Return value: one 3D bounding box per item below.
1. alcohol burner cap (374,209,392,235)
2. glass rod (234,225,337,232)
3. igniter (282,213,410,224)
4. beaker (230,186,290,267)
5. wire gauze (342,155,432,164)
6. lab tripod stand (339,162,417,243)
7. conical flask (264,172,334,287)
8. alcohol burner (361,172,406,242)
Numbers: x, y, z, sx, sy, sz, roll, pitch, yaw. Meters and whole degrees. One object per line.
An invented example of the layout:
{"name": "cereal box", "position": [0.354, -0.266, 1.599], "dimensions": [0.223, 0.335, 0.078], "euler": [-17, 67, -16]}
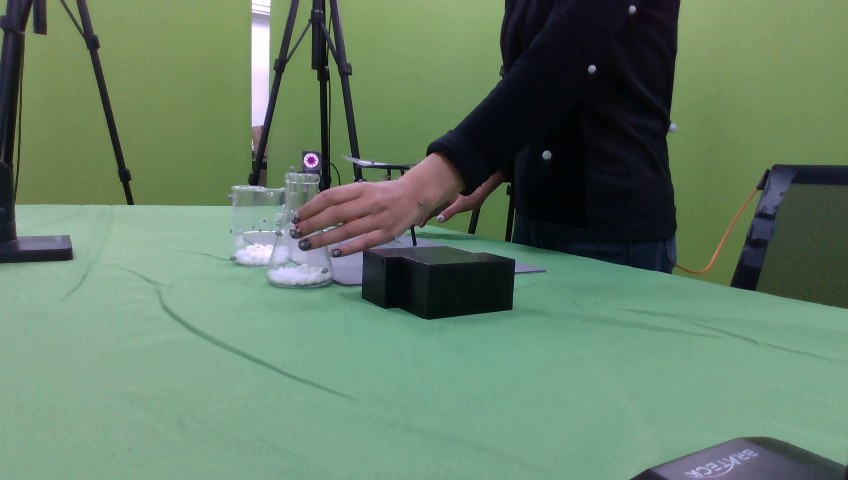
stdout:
{"name": "alcohol burner cap", "position": [-0.078, -0.035, 1.148], "dimensions": [0.034, 0.048, 0.034], "euler": [3, 7, 0]}
{"name": "glass rod", "position": [-0.256, -0.023, 1.136], "dimensions": [0.201, 0.008, 0.008], "euler": [-3, 9, -33]}
{"name": "igniter", "position": [-0.159, -0.046, 1.287], "dimensions": [0.278, 0.025, 0.057], "euler": [-1, -3, -21]}
{"name": "beaker", "position": [-0.209, -0.019, 0.778], "dimensions": [0.074, 0.100, 0.084], "euler": [3, 7, 4]}
{"name": "wire gauze", "position": [-0.065, -0.131, 1.017], "dimensions": [0.122, 0.011, 0.124], "euler": [1, 9, -26]}
{"name": "lab tripod stand", "position": [-0.067, -0.065, 1.027], "dimensions": [0.148, 0.131, 0.148], "euler": [4, 7, 0]}
{"name": "conical flask", "position": [-0.136, -0.013, 0.661], "dimensions": [0.075, 0.122, 0.075], "euler": [2, 6, 0]}
{"name": "alcohol burner", "position": [-0.067, -0.056, 1.030], "dimensions": [0.078, 0.119, 0.078], "euler": [3, 9, 0]}
